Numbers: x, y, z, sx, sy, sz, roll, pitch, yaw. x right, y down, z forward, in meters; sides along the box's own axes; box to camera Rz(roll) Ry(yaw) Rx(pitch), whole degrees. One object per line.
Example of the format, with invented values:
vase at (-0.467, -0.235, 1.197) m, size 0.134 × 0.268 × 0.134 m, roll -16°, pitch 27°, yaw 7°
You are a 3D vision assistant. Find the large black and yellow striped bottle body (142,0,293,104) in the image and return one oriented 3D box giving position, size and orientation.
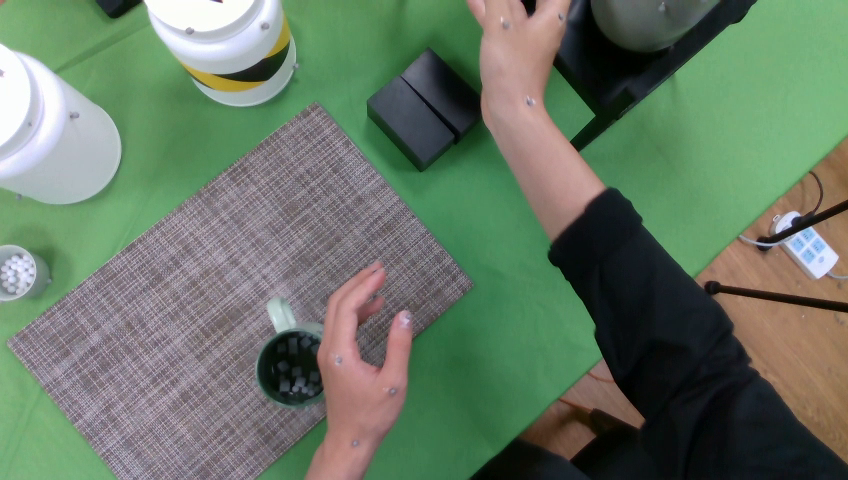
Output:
large black and yellow striped bottle body at (-0.221, -0.239, 0.659) m, size 0.131 × 0.184 × 0.130 m, roll 0°, pitch 83°, yaw -4°

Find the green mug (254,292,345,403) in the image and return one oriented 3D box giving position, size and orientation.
green mug at (-0.143, 0.116, 0.663) m, size 0.092 × 0.105 × 0.125 m, roll -24°, pitch 85°, yaw -6°

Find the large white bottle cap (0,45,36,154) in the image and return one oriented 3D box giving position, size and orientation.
large white bottle cap at (-0.414, -0.128, 0.545) m, size 0.115 × 0.018 × 0.114 m, roll 1°, pitch 84°, yaw -5°

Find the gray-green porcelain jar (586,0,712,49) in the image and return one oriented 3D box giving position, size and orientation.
gray-green porcelain jar at (0.211, -0.241, 0.544) m, size 0.106 × 0.126 × 0.105 m, roll 1°, pitch 83°, yaw -4°

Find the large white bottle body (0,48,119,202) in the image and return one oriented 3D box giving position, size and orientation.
large white bottle body at (-0.420, -0.118, 0.629) m, size 0.131 × 0.185 × 0.130 m, roll 0°, pitch 83°, yaw -4°

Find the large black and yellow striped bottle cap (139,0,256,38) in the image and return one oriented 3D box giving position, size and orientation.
large black and yellow striped bottle cap at (-0.217, -0.250, 0.576) m, size 0.115 × 0.019 × 0.114 m, roll 1°, pitch 83°, yaw -6°

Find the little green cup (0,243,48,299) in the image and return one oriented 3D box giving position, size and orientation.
little green cup at (-0.461, 0.036, 0.682) m, size 0.061 × 0.038 × 0.061 m, roll 1°, pitch 84°, yaw -5°
